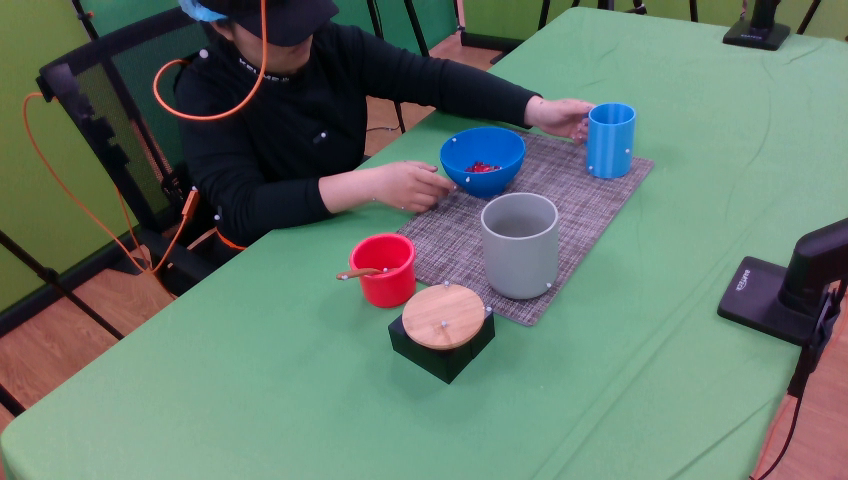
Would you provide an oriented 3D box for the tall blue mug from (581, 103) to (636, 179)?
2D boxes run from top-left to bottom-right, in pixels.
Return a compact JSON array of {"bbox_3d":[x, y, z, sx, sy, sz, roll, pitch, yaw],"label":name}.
[{"bbox_3d":[0.313,-0.177,1.062,0.106,0.108,0.078,21,50,32],"label":"tall blue mug"}]

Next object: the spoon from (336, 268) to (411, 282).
[{"bbox_3d":[-0.071,0.047,0.850,0.041,0.195,0.021,18,93,24],"label":"spoon"}]

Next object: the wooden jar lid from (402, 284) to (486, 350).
[{"bbox_3d":[0.027,0.101,0.785,0.108,0.021,0.108,-5,39,4],"label":"wooden jar lid"}]

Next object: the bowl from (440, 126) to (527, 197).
[{"bbox_3d":[0.107,-0.129,1.070,0.151,0.077,0.150,-5,40,5],"label":"bowl"}]

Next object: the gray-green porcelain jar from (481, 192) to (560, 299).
[{"bbox_3d":[0.138,0.013,0.858,0.106,0.127,0.105,-6,40,5],"label":"gray-green porcelain jar"}]
